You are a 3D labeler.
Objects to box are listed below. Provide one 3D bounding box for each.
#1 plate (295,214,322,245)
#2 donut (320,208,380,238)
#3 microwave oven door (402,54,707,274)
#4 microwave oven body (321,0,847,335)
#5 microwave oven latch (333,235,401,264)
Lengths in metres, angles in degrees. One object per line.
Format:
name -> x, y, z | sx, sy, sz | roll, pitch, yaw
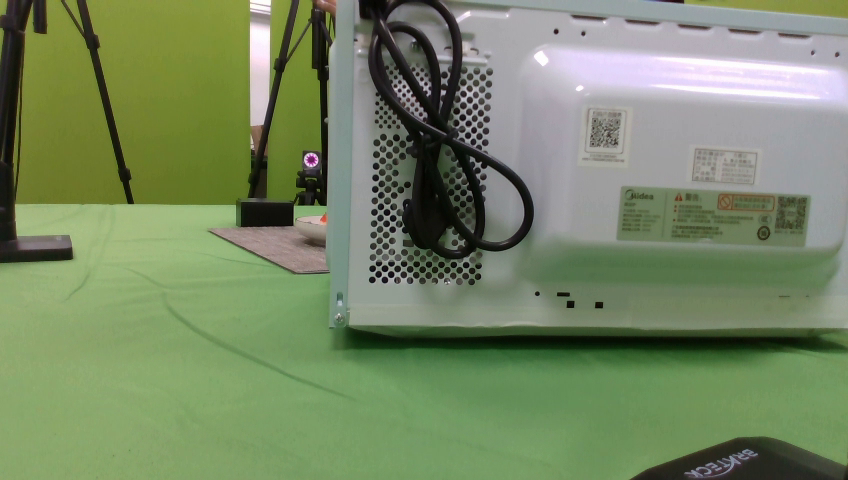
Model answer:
plate -> -0.107, -0.016, 0.997 | 0.209, 0.038, 0.209 | 2, 7, 0
donut -> -0.121, -0.027, 0.996 | 0.099, 0.048, 0.099 | 2, 4, 0
microwave oven door -> 0.157, -0.085, 0.717 | 0.357, 0.243, 0.039 | 1, 8, -8
microwave oven body -> 0.133, -0.062, 0.568 | 0.443, 0.260, 0.325 | 2, 6, -8
microwave oven latch -> -0.066, 0.010, 0.701 | 0.079, 0.029, 0.030 | 2, 6, -8
